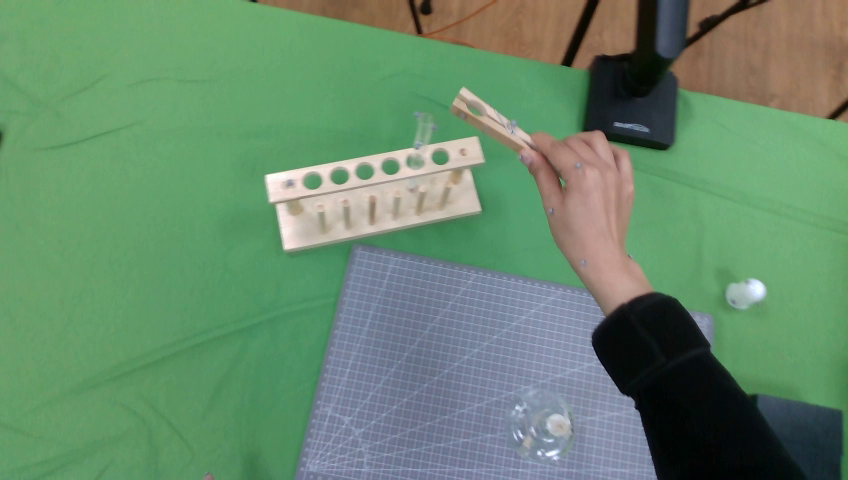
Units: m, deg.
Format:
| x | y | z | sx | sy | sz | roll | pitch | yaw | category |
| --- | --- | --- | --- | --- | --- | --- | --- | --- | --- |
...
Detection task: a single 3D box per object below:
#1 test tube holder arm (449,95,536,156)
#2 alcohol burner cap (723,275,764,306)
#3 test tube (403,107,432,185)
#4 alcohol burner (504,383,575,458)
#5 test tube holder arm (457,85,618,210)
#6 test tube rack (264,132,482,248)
| x | y | z | sx | sy | sz | roll | pitch | yaw | category |
| --- | --- | --- | --- | --- | --- | --- | --- | --- | --- |
| 0.063 | -0.103 | 0.550 | 0.088 | 0.015 | 0.010 | 29 | 71 | -5 | test tube holder arm |
| 0.391 | 0.060 | 0.736 | 0.034 | 0.048 | 0.033 | 1 | 72 | -3 | alcohol burner cap |
| -0.009 | -0.100 | 0.675 | 0.017 | 0.151 | 0.017 | 3 | 68 | -7 | test tube |
| 0.125 | 0.189 | 0.634 | 0.078 | 0.119 | 0.077 | 1 | 74 | -5 | alcohol burner |
| 0.104 | -0.083 | 0.554 | 0.178 | 0.015 | 0.013 | 35 | 71 | -3 | test tube holder arm |
| -0.053 | -0.057 | 0.710 | 0.243 | 0.085 | 0.066 | -12 | 74 | -8 | test tube rack |
